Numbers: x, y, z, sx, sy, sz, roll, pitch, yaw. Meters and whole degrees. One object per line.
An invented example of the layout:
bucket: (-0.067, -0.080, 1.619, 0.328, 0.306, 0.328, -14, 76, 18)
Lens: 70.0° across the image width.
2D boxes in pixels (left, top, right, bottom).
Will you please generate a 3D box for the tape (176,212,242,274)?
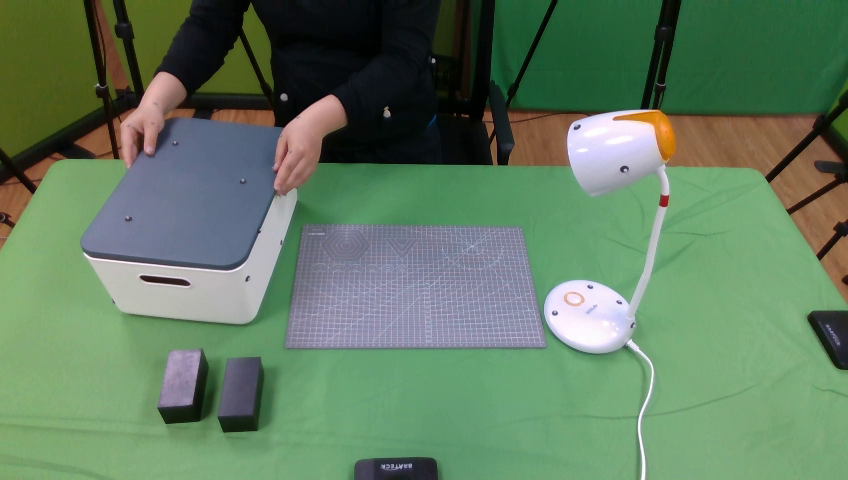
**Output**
tape: (-0.401, 0.005, 1.133, 0.117, 0.053, 0.116, 2, 46, -2)

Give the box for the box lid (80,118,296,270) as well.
box lid: (-0.390, -0.094, 1.050, 0.263, 0.015, 0.369, 6, 45, 2)

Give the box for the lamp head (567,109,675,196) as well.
lamp head: (0.272, -0.123, 0.818, 0.122, 0.113, 0.112, -9, 35, 37)

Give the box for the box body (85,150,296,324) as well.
box body: (-0.392, -0.035, 1.104, 0.254, 0.161, 0.362, 5, 46, 1)

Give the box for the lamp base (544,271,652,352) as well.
lamp base: (0.310, 0.086, 1.029, 0.178, 0.181, 0.160, 32, 52, 21)
